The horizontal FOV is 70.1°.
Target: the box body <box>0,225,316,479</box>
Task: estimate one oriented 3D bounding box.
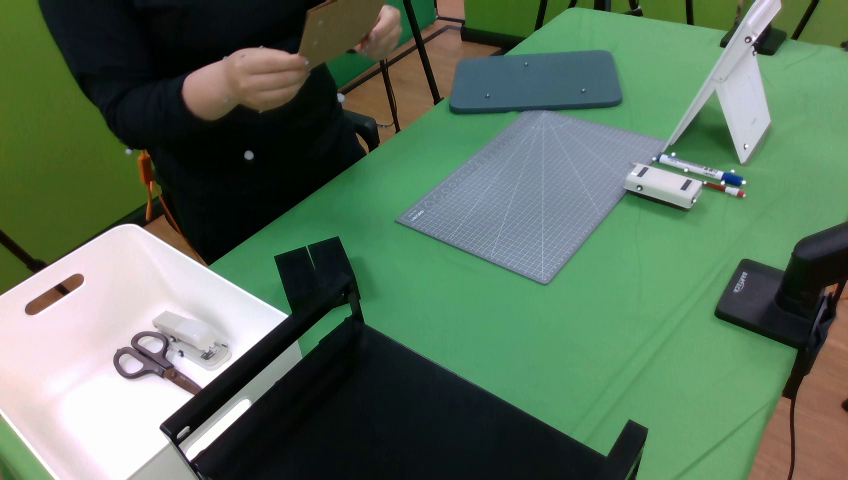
[{"bbox_3d":[-0.339,0.162,0.728,0.361,0.161,0.255,23,48,31],"label":"box body"}]

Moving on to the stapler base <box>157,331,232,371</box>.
[{"bbox_3d":[-0.326,0.142,0.849,0.129,0.024,0.041,18,43,32],"label":"stapler base"}]

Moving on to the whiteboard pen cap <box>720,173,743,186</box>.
[{"bbox_3d":[0.519,-0.103,1.020,0.033,0.018,0.018,23,49,30],"label":"whiteboard pen cap"}]

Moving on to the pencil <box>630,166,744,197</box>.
[{"bbox_3d":[0.447,-0.103,1.038,0.192,0.012,0.012,21,48,30],"label":"pencil"}]

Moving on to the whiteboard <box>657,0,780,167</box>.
[{"bbox_3d":[0.571,-0.272,1.038,0.143,0.306,0.218,37,54,17],"label":"whiteboard"}]

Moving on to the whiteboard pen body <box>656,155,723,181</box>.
[{"bbox_3d":[0.475,-0.123,1.052,0.139,0.017,0.017,24,50,32],"label":"whiteboard pen body"}]

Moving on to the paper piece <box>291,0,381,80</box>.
[{"bbox_3d":[-0.108,-0.268,0.764,0.136,0.135,0.004,-39,86,-27],"label":"paper piece"}]

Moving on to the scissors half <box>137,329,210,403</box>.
[{"bbox_3d":[-0.336,0.172,0.822,0.174,0.013,0.040,34,56,31],"label":"scissors half"}]

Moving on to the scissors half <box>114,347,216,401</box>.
[{"bbox_3d":[-0.348,0.185,0.811,0.174,0.013,0.040,15,53,19],"label":"scissors half"}]

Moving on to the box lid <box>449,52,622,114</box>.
[{"bbox_3d":[0.249,-0.358,1.370,0.371,0.015,0.262,-1,40,9],"label":"box lid"}]

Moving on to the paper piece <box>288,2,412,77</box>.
[{"bbox_3d":[-0.097,-0.253,0.764,0.137,0.137,0.008,-17,81,-27],"label":"paper piece"}]

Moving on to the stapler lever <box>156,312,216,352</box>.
[{"bbox_3d":[-0.331,0.122,0.835,0.117,0.040,0.027,17,43,33],"label":"stapler lever"}]

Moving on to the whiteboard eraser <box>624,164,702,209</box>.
[{"bbox_3d":[0.396,-0.087,1.003,0.112,0.042,0.056,22,47,31],"label":"whiteboard eraser"}]
